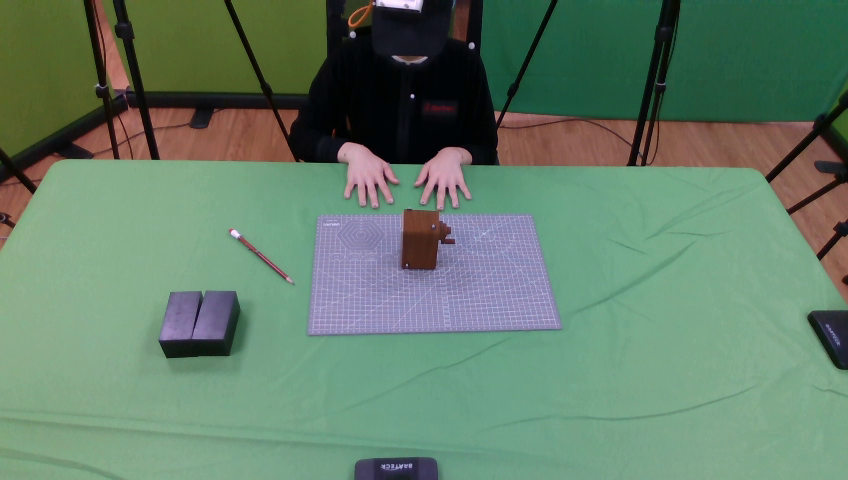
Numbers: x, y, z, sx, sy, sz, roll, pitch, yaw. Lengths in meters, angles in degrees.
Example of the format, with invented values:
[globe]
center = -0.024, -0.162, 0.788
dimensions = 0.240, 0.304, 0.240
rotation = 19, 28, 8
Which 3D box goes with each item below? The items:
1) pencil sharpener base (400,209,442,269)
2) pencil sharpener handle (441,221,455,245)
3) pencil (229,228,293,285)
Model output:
[pencil sharpener base]
center = -0.006, 0.000, 1.134
dimensions = 0.077, 0.107, 0.061
rotation = 2, 46, -2
[pencil sharpener handle]
center = 0.046, -0.011, 1.130
dimensions = 0.030, 0.068, 0.036
rotation = 2, 62, -2
[pencil]
center = -0.311, 0.031, 1.155
dimensions = 0.193, 0.012, 0.012
rotation = 36, 54, 26
